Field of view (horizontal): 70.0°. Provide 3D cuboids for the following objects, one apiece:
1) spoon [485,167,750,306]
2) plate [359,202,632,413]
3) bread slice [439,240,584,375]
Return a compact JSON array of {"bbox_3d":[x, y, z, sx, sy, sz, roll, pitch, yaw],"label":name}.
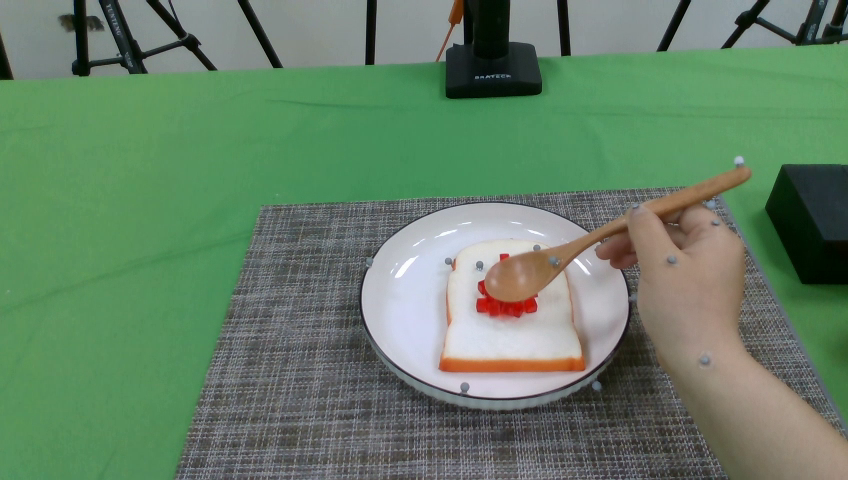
[{"bbox_3d":[0.127,-0.001,0.422,0.193,0.022,0.041,-30,43,27],"label":"spoon"},{"bbox_3d":[0.053,0.049,0.481,0.209,0.038,0.207,-3,43,3],"label":"plate"},{"bbox_3d":[0.066,0.050,0.483,0.105,0.019,0.130,0,44,4],"label":"bread slice"}]
